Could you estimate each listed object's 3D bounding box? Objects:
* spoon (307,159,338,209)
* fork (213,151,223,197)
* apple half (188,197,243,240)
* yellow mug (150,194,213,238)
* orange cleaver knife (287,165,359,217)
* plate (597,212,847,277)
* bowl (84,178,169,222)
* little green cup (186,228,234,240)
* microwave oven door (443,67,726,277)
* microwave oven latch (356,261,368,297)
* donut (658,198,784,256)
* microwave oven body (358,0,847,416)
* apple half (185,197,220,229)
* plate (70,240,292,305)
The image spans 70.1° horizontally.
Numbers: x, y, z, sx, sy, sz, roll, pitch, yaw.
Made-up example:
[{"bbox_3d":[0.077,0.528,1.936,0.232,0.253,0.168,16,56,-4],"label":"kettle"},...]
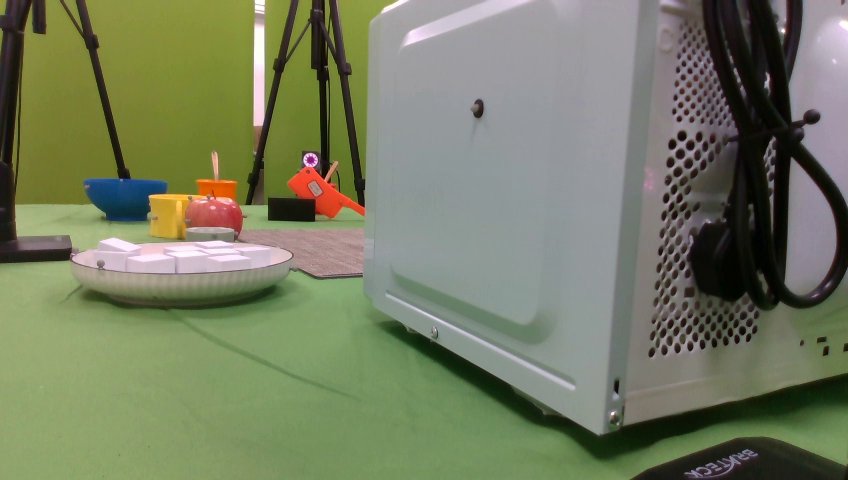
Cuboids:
[{"bbox_3d":[-0.257,-0.147,1.567,0.041,0.022,0.193,2,51,19],"label":"spoon"},{"bbox_3d":[-0.494,-0.143,1.442,0.028,0.018,0.206,-2,52,-20],"label":"fork"},{"bbox_3d":[-0.305,-0.026,0.907,0.053,0.074,0.081,12,8,31],"label":"apple half"},{"bbox_3d":[-0.401,-0.040,1.003,0.100,0.064,0.130,-1,8,-20],"label":"yellow mug"},{"bbox_3d":[-0.211,-0.092,1.382,0.212,0.077,0.012,34,1,-15],"label":"orange cleaver knife"},{"bbox_3d":[0.255,0.001,0.519,0.209,0.038,0.209,2,6,0],"label":"plate"},{"bbox_3d":[-0.584,-0.078,1.194,0.151,0.077,0.151,3,8,0],"label":"bowl"},{"bbox_3d":[-0.284,0.005,0.805,0.061,0.038,0.061,2,8,0],"label":"little green cup"},{"bbox_3d":[0.189,-0.094,0.791,0.354,0.243,0.039,7,9,31],"label":"microwave oven door"},{"bbox_3d":[-0.020,0.033,0.530,0.079,0.029,0.030,-1,7,-27],"label":"microwave oven latch"},{"bbox_3d":[0.252,-0.010,0.517,0.099,0.048,0.099,3,6,0],"label":"donut"},{"bbox_3d":[0.210,-0.047,0.475,0.444,0.260,0.324,-1,7,-28],"label":"microwave oven body"},{"bbox_3d":[-0.338,-0.031,0.927,0.032,0.081,0.081,12,12,31],"label":"apple half"},{"bbox_3d":[-0.242,0.031,0.618,0.208,0.039,0.207,2,8,0],"label":"plate"}]
